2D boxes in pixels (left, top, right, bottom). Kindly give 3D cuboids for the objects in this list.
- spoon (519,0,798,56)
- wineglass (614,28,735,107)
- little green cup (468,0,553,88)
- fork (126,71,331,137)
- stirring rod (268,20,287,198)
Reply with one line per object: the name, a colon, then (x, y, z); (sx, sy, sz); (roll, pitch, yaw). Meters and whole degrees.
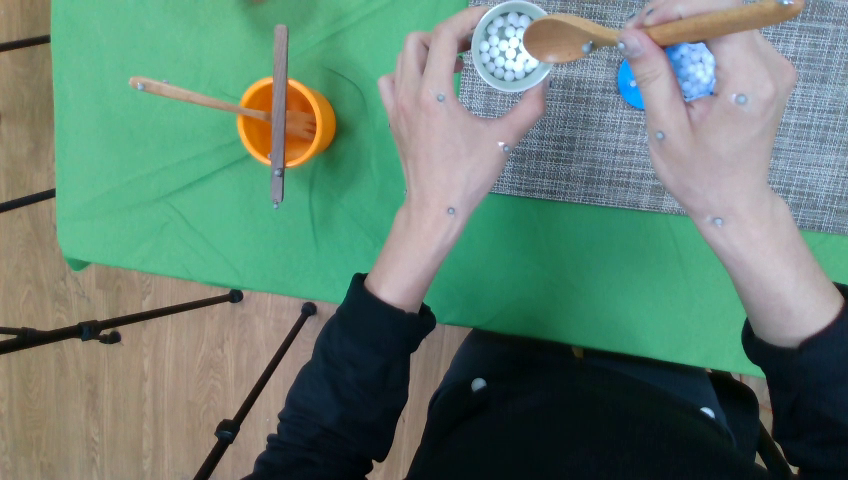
spoon: (0.113, -0.118, 0.334); (0.042, 0.192, 0.021); (35, 90, -28)
wineglass: (0.215, -0.154, 0.538); (0.073, 0.172, 0.074); (2, 103, 9)
little green cup: (0.063, -0.144, 0.444); (0.061, 0.038, 0.062); (1, 111, 4)
fork: (-0.190, -0.138, 0.619); (0.209, 0.018, 0.028); (8, 117, -38)
stirring rod: (-0.149, -0.129, 0.612); (0.014, 0.006, 0.177); (7, 104, 8)
